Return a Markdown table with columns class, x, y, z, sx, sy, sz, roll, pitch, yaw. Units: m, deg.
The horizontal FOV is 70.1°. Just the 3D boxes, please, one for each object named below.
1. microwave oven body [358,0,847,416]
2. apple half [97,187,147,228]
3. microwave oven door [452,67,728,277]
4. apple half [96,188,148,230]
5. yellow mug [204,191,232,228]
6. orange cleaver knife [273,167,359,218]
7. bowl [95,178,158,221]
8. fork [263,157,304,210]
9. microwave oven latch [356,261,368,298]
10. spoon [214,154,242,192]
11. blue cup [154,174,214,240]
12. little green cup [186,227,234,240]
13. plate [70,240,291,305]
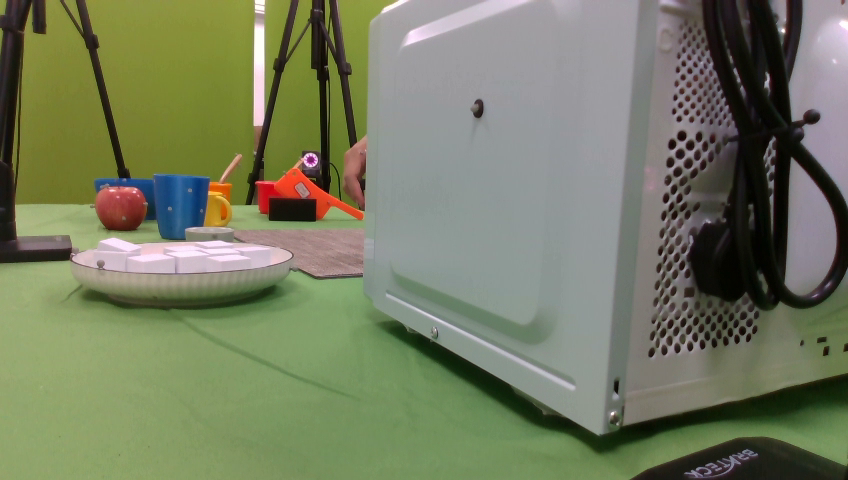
| class | x | y | z | sx | sy | sz | roll | pitch | yaw |
| --- | --- | --- | --- | --- | --- | --- | --- | --- | --- |
| microwave oven body | 0.210 | -0.047 | 0.475 | 0.444 | 0.260 | 0.324 | -1 | 7 | -28 |
| apple half | -0.534 | -0.059 | 1.071 | 0.082 | 0.081 | 0.032 | -1 | 11 | -25 |
| microwave oven door | 0.196 | -0.094 | 0.800 | 0.354 | 0.243 | 0.039 | 8 | 9 | 36 |
| apple half | -0.517 | -0.052 | 1.036 | 0.081 | 0.074 | 0.053 | 2 | 10 | -26 |
| yellow mug | -0.415 | -0.057 | 1.131 | 0.130 | 0.064 | 0.100 | 6 | 7 | 16 |
| orange cleaver knife | -0.238 | -0.091 | 1.381 | 0.212 | 0.077 | 0.012 | 31 | 0 | -19 |
| bowl | -0.576 | -0.081 | 1.217 | 0.151 | 0.077 | 0.151 | 3 | 8 | 0 |
| fork | -0.345 | -0.143 | 1.506 | 0.028 | 0.019 | 0.207 | -4 | 46 | 29 |
| microwave oven latch | -0.020 | 0.033 | 0.530 | 0.079 | 0.029 | 0.030 | 0 | 7 | -26 |
| spoon | -0.439 | -0.124 | 1.318 | 0.041 | 0.193 | 0.022 | 6 | -36 | 16 |
| blue cup | -0.391 | -0.053 | 0.978 | 0.093 | 0.100 | 0.092 | 3 | 6 | 0 |
| little green cup | -0.285 | 0.005 | 0.805 | 0.061 | 0.038 | 0.061 | 2 | 8 | 0 |
| plate | -0.242 | 0.031 | 0.618 | 0.208 | 0.039 | 0.207 | 2 | 8 | 0 |
